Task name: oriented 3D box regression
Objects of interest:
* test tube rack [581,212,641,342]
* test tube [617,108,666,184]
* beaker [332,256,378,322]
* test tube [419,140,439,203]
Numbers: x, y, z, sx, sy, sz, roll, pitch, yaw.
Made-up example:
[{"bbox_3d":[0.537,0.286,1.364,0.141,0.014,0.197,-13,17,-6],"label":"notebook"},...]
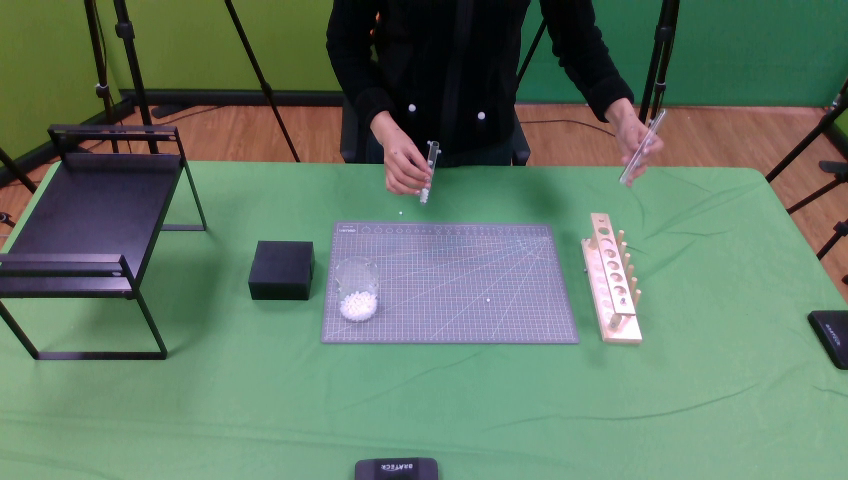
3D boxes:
[{"bbox_3d":[0.351,0.064,1.121,0.067,0.085,0.241,3,46,-1],"label":"test tube rack"},{"bbox_3d":[0.381,-0.165,1.057,0.017,0.017,0.150,30,89,23],"label":"test tube"},{"bbox_3d":[-0.114,0.089,1.047,0.083,0.101,0.074,30,52,21],"label":"beaker"},{"bbox_3d":[0.008,-0.122,1.111,0.017,0.151,0.017,5,49,-6],"label":"test tube"}]
